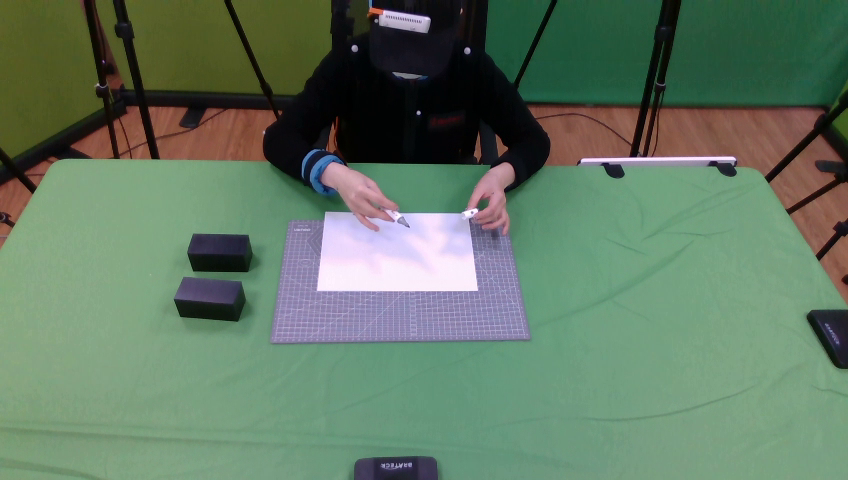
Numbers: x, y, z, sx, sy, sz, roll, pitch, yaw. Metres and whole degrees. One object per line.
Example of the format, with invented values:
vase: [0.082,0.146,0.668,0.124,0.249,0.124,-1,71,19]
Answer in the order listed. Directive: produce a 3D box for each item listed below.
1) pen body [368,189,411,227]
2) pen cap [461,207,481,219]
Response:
pen body: [-0.065,-0.060,1.156,0.017,0.017,0.143,-26,44,-26]
pen cap: [0.091,-0.053,1.170,0.038,0.017,0.017,-18,50,-27]
